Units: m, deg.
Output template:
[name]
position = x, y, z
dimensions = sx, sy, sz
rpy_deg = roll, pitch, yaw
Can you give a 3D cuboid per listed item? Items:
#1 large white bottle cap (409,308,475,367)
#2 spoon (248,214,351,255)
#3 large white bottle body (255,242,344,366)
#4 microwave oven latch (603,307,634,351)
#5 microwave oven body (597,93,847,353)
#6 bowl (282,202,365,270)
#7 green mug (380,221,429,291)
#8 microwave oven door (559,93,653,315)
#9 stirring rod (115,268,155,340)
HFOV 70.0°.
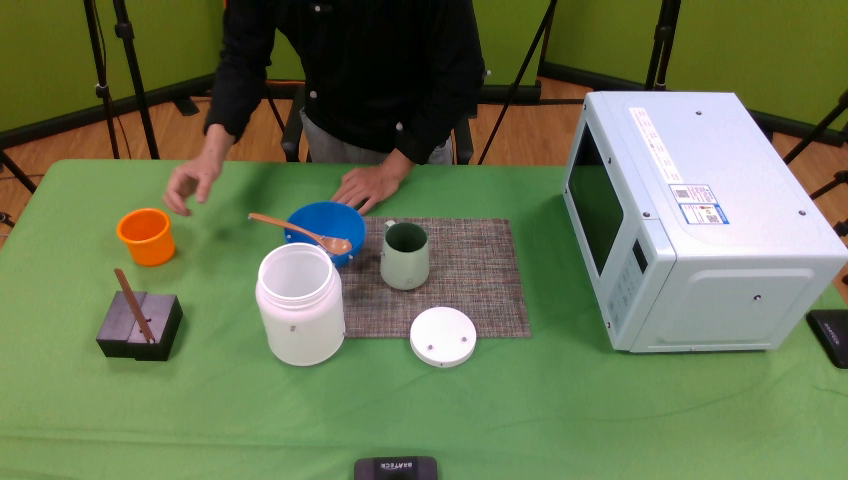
[large white bottle cap]
position = 0.031, 0.166, 1.041
dimensions = 0.115, 0.018, 0.114
rpy_deg = 2, 47, -2
[spoon]
position = -0.228, -0.014, 1.113
dimensions = 0.194, 0.022, 0.041
rpy_deg = 23, 40, -15
[large white bottle body]
position = -0.196, 0.102, 0.967
dimensions = 0.131, 0.185, 0.130
rpy_deg = 2, 49, -2
[microwave oven latch]
position = 0.332, 0.153, 1.044
dimensions = 0.030, 0.029, 0.078
rpy_deg = 0, 45, -4
[microwave oven body]
position = 0.475, -0.041, 1.109
dimensions = 0.326, 0.261, 0.438
rpy_deg = -1, 45, -4
[bowl]
position = -0.186, 0.006, 1.137
dimensions = 0.151, 0.077, 0.150
rpy_deg = 3, 46, -3
[green mug]
position = -0.043, 0.020, 1.116
dimensions = 0.092, 0.105, 0.124
rpy_deg = -20, 50, -21
[microwave oven door]
position = 0.327, -0.074, 1.123
dimensions = 0.039, 0.245, 0.353
rpy_deg = -1, 46, -5
[stirring rod]
position = -0.479, 0.103, 0.999
dimensions = 0.014, 0.006, 0.175
rpy_deg = 8, 32, -49
